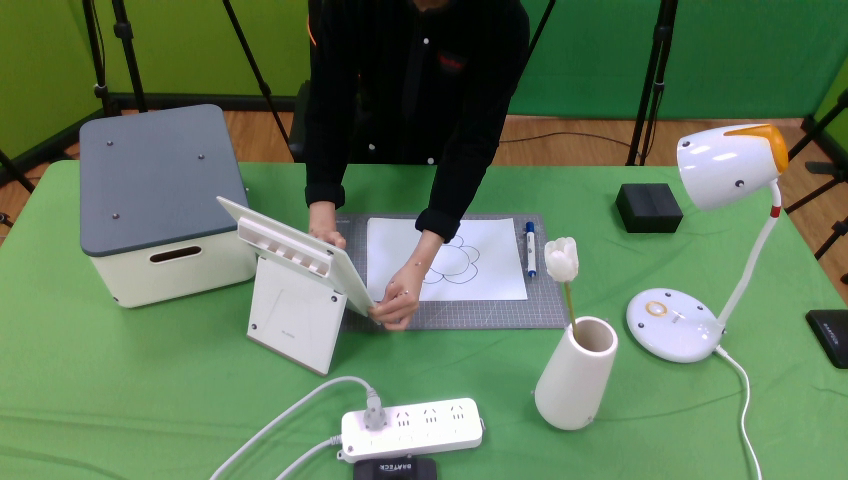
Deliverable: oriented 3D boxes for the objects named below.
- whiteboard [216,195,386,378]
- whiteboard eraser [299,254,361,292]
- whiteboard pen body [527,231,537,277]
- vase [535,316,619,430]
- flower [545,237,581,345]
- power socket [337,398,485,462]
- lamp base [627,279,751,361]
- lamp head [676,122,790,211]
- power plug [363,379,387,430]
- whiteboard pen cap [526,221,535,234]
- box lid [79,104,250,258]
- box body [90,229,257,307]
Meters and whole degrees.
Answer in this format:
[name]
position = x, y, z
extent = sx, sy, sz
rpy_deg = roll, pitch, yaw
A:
[whiteboard]
position = -0.212, 0.094, 0.937
extent = 0.216, 0.307, 0.143
rpy_deg = 24, 70, 17
[whiteboard eraser]
position = -0.165, 0.059, 1.042
extent = 0.112, 0.056, 0.041
rpy_deg = 13, 68, 41
[whiteboard pen body]
position = 0.211, 0.018, 1.191
extent = 0.017, 0.017, 0.140
rpy_deg = 6, 44, 1
[vase]
position = 0.229, 0.200, 0.901
extent = 0.098, 0.201, 0.097
rpy_deg = 3, 46, -3
[flower]
position = 0.213, 0.137, 0.846
extent = 0.038, 0.364, 0.044
rpy_deg = 21, 55, 39
[power socket]
position = -0.018, 0.285, 0.914
extent = 0.227, 0.033, 0.071
rpy_deg = -4, 46, -8
[lamp base]
position = 0.460, 0.100, 1.027
extent = 0.178, 0.181, 0.160
rpy_deg = 27, 51, 17
[lamp head]
position = 0.423, -0.104, 0.819
extent = 0.122, 0.113, 0.112
rpy_deg = -13, 33, 40
[power plug]
position = -0.071, 0.252, 0.911
extent = 0.035, 0.053, 0.072
rpy_deg = 3, 40, 0
[whiteboard pen cap]
position = 0.216, -0.022, 1.234
extent = 0.018, 0.018, 0.033
rpy_deg = 6, 45, 2
[box lid]
position = -0.467, -0.120, 1.075
extent = 0.264, 0.015, 0.369
rpy_deg = -13, 49, -17
[box body]
position = -0.471, -0.070, 1.131
extent = 0.254, 0.161, 0.361
rpy_deg = -14, 49, -17
